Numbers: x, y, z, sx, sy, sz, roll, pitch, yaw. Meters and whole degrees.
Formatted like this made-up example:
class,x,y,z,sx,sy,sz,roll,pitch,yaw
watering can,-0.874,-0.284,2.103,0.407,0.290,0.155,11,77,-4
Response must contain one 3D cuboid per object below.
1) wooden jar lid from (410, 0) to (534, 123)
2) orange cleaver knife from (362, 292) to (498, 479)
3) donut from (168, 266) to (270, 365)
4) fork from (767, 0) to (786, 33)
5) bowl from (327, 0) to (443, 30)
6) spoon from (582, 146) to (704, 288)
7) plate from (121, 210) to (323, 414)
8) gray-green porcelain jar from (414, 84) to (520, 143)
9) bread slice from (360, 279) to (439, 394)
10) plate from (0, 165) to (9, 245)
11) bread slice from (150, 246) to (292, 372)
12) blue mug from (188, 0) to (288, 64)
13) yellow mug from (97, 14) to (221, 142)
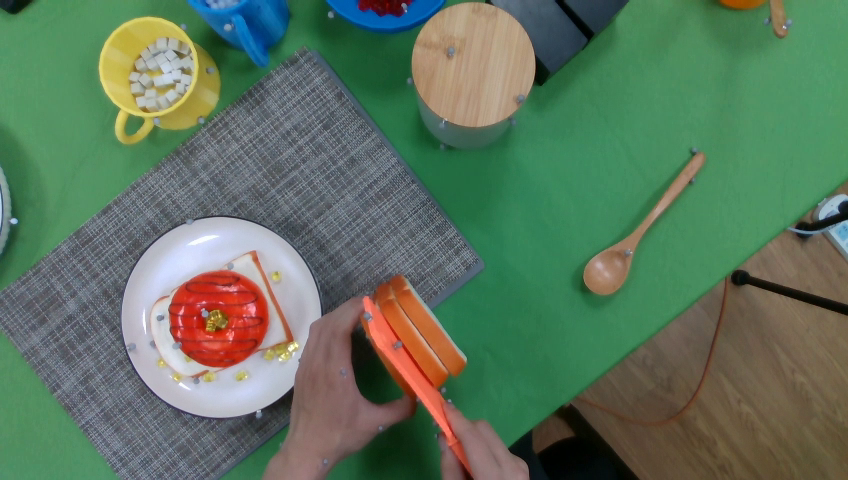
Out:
class,x,y,z,sx,sy,sz,roll,pitch,yaw
wooden jar lid,0.042,-0.156,0.533,0.108,0.020,0.108,0,91,-3
orange cleaver knife,0.007,0.135,0.528,0.012,0.077,0.212,-33,105,3
donut,-0.204,0.076,0.608,0.099,0.048,0.099,0,90,-3
fork,0.326,-0.253,0.582,0.028,0.019,0.205,23,46,-6
bowl,-0.038,-0.281,0.620,0.151,0.077,0.151,0,90,1
spoon,0.238,-0.026,0.645,0.041,0.022,0.193,40,90,19
plate,-0.207,0.074,0.636,0.209,0.038,0.209,0,90,0
gray-green porcelain jar,0.043,-0.154,0.595,0.106,0.126,0.106,0,89,0
bread slice,-0.023,0.092,0.591,0.018,0.134,0.107,-32,88,9
plate,-0.538,-0.037,0.641,0.208,0.039,0.207,0,90,0
bread slice,-0.219,0.081,0.639,0.131,0.019,0.105,-26,89,-3
blue mug,-0.184,-0.234,0.607,0.082,0.106,0.116,-19,89,0
yellow mug,-0.279,-0.159,0.627,0.100,0.064,0.131,30,91,1
